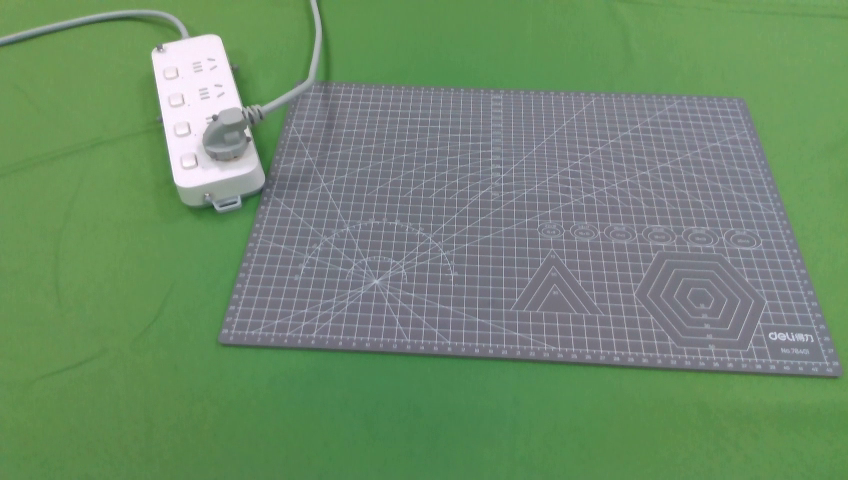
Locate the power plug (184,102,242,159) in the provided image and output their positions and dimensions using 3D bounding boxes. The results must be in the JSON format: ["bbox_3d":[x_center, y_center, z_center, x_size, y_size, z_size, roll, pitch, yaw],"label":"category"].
[{"bbox_3d":[-0.189,-0.094,0.519,0.072,0.035,0.052,-1,56,26],"label":"power plug"}]

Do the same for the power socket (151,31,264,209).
[{"bbox_3d":[-0.206,-0.122,0.568,0.072,0.033,0.224,-16,55,-13],"label":"power socket"}]
